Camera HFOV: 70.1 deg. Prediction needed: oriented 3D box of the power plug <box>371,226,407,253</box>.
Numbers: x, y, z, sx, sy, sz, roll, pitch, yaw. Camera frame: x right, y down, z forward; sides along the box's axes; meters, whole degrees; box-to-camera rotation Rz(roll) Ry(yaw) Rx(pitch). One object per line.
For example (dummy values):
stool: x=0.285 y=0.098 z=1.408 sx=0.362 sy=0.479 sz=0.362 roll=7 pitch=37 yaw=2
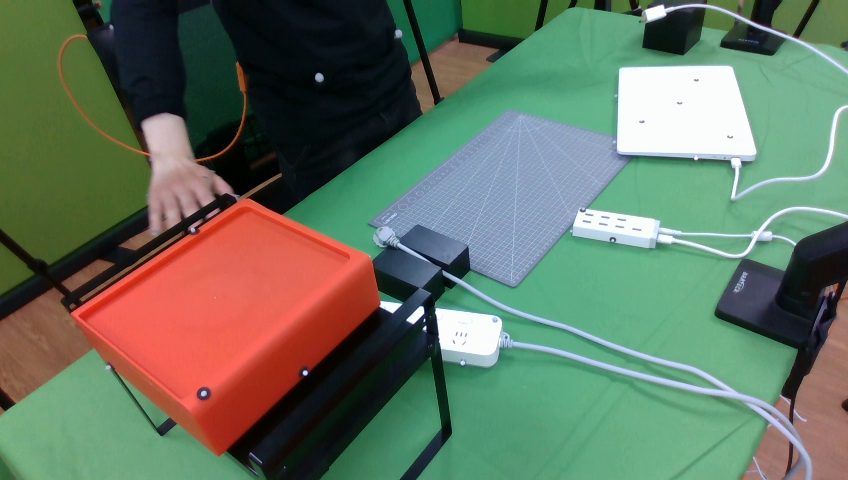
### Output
power plug: x=-0.054 y=0.009 z=0.930 sx=0.035 sy=0.053 sz=0.072 roll=-34 pitch=64 yaw=-5

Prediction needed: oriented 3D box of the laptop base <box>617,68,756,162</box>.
laptop base: x=0.507 y=-0.256 z=1.204 sx=0.235 sy=0.023 sz=0.353 roll=3 pitch=41 yaw=15

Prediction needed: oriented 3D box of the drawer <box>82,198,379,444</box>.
drawer: x=-0.185 y=0.066 z=0.600 sx=0.193 sy=0.073 sz=0.212 roll=24 pitch=50 yaw=31

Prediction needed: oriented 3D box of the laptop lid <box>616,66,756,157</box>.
laptop lid: x=0.503 y=-0.265 z=1.196 sx=0.241 sy=0.013 sz=0.356 roll=5 pitch=41 yaw=16

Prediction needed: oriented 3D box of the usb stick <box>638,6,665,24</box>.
usb stick: x=0.503 y=-0.499 z=1.347 sx=0.059 sy=0.027 sz=0.021 roll=-21 pitch=5 yaw=-1

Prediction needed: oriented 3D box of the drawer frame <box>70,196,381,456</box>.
drawer frame: x=-0.186 y=0.068 z=0.597 sx=0.200 sy=0.083 sz=0.214 roll=23 pitch=49 yaw=30

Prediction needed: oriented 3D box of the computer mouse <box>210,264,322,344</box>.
computer mouse: x=-0.164 y=0.062 z=0.625 sx=0.116 sy=0.041 sz=0.063 roll=22 pitch=45 yaw=27

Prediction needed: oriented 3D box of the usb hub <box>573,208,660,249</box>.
usb hub: x=0.302 y=-0.019 z=0.949 sx=0.124 sy=0.025 sz=0.049 roll=11 pitch=43 yaw=20

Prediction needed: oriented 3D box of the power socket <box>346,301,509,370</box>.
power socket: x=-0.001 y=0.126 z=0.817 sx=0.226 sy=0.033 sz=0.072 roll=7 pitch=43 yaw=15
